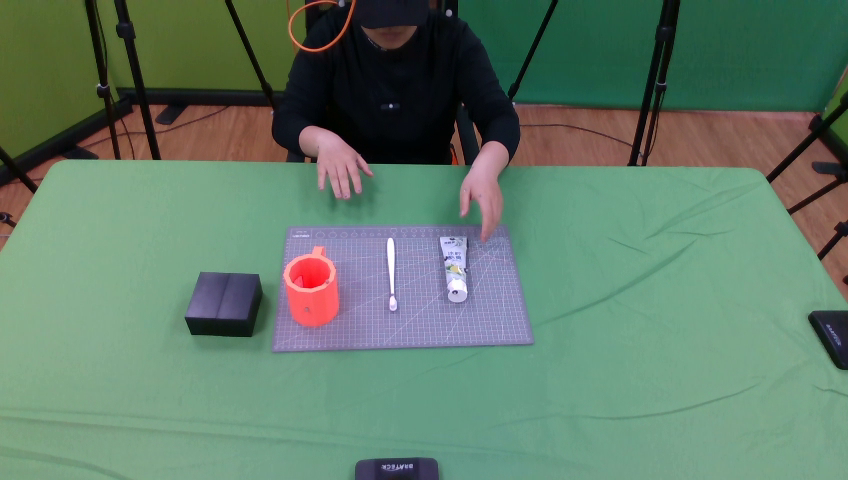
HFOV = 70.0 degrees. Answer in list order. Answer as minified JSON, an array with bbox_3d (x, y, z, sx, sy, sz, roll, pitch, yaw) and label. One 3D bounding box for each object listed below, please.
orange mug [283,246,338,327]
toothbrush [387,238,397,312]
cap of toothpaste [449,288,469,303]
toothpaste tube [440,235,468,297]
[{"bbox_3d":[-0.193,0.074,1.056,0.083,0.101,0.125,5,50,1],"label":"orange mug"},{"bbox_3d":[-0.061,0.059,1.136,0.014,0.017,0.180,-11,45,5],"label":"toothbrush"},{"bbox_3d":[0.062,0.098,1.093,0.037,0.037,0.011,1,42,-2],"label":"cap of toothpaste"},{"bbox_3d":[0.062,0.046,1.150,0.055,0.035,0.164,3,43,-6],"label":"toothpaste tube"}]
